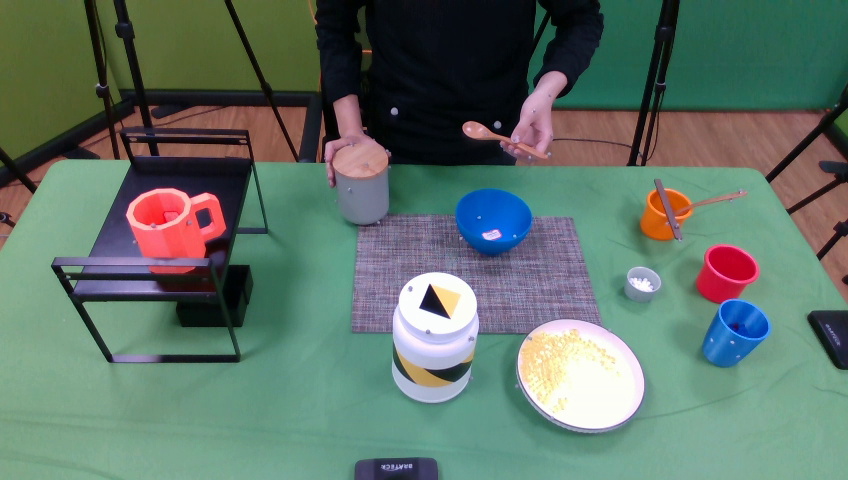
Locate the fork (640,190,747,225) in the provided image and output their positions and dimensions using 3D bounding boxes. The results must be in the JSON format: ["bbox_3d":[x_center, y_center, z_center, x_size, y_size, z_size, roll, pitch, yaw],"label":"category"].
[{"bbox_3d":[0.533,-0.065,1.211,0.207,0.019,0.028,-22,28,38],"label":"fork"}]

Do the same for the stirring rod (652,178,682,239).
[{"bbox_3d":[0.481,-0.065,1.204,0.014,0.006,0.175,2,46,-1],"label":"stirring rod"}]

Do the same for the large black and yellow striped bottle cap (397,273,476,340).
[{"bbox_3d":[0.018,0.094,0.878,0.115,0.019,0.114,3,46,-3],"label":"large black and yellow striped bottle cap"}]

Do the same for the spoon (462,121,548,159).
[{"bbox_3d":[0.138,-0.175,1.056,0.041,0.022,0.192,-32,40,-27],"label":"spoon"}]

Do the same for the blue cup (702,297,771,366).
[{"bbox_3d":[0.519,0.162,1.025,0.093,0.101,0.092,3,45,-3],"label":"blue cup"}]

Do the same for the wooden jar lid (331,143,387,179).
[{"bbox_3d":[-0.125,-0.148,1.169,0.108,0.021,0.107,1,44,-1],"label":"wooden jar lid"}]

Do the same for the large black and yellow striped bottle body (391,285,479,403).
[{"bbox_3d":[0.015,0.153,0.938,0.131,0.185,0.130,2,46,-2],"label":"large black and yellow striped bottle body"}]

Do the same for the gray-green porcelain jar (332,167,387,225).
[{"bbox_3d":[-0.126,-0.103,1.210,0.106,0.127,0.105,1,43,0],"label":"gray-green porcelain jar"}]

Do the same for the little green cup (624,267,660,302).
[{"bbox_3d":[0.406,0.084,1.135,0.061,0.039,0.061,3,46,-3],"label":"little green cup"}]

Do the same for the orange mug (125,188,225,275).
[{"bbox_3d":[-0.357,-0.019,0.884,0.126,0.101,0.083,-29,54,-23],"label":"orange mug"}]

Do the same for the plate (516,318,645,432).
[{"bbox_3d":[0.253,0.221,0.992,0.209,0.038,0.208,2,46,-2],"label":"plate"}]

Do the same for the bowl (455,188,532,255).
[{"bbox_3d":[0.131,-0.025,1.187,0.151,0.077,0.150,3,45,-2],"label":"bowl"}]
